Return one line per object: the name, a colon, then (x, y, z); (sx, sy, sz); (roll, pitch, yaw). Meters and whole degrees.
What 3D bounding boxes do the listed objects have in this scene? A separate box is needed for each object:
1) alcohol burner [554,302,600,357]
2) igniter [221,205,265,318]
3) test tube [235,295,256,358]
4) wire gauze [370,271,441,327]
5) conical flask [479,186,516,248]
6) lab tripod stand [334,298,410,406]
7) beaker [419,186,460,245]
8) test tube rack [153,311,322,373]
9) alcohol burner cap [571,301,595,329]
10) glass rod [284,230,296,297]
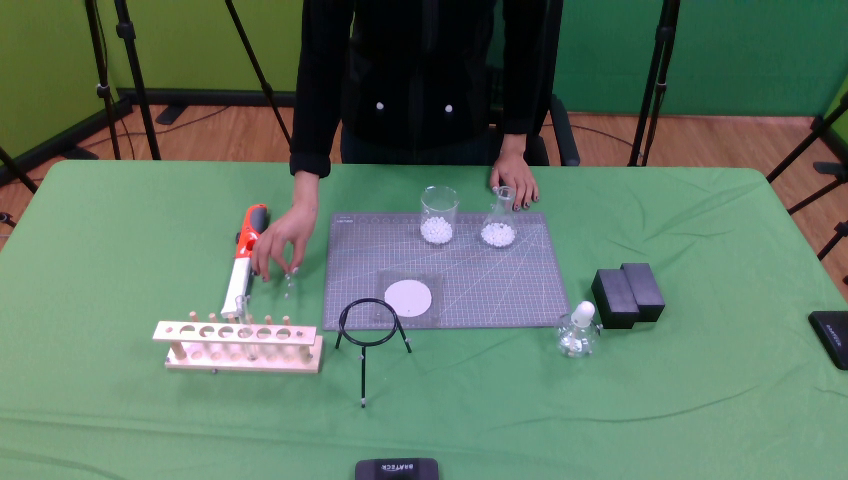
alcohol burner: (0.260, 0.143, 1.018); (0.078, 0.119, 0.077); (3, 44, -3)
igniter: (-0.337, 0.030, 1.140); (0.057, 0.025, 0.274); (-6, 46, 3)
test tube: (-0.274, 0.136, 0.933); (0.017, 0.151, 0.017); (4, 46, -4)
wire gauze: (-0.032, 0.103, 1.104); (0.125, 0.011, 0.121); (4, 46, 3)
conical flask: (0.150, -0.049, 1.186); (0.075, 0.122, 0.075); (2, 46, -2)
lab tripod stand: (-0.086, 0.164, 0.957); (0.148, 0.132, 0.147); (3, 44, -2)
beaker: (0.025, -0.047, 1.190); (0.074, 0.101, 0.083); (-29, 54, -28)
test tube rack: (-0.293, 0.160, 0.978); (0.242, 0.085, 0.066); (3, 46, -2)
alcohol burner cap: (0.262, 0.120, 0.991); (0.034, 0.048, 0.033); (2, 52, -2)
glass rod: (-0.247, 0.039, 1.124); (0.008, 0.008, 0.198); (-2, 36, -5)
